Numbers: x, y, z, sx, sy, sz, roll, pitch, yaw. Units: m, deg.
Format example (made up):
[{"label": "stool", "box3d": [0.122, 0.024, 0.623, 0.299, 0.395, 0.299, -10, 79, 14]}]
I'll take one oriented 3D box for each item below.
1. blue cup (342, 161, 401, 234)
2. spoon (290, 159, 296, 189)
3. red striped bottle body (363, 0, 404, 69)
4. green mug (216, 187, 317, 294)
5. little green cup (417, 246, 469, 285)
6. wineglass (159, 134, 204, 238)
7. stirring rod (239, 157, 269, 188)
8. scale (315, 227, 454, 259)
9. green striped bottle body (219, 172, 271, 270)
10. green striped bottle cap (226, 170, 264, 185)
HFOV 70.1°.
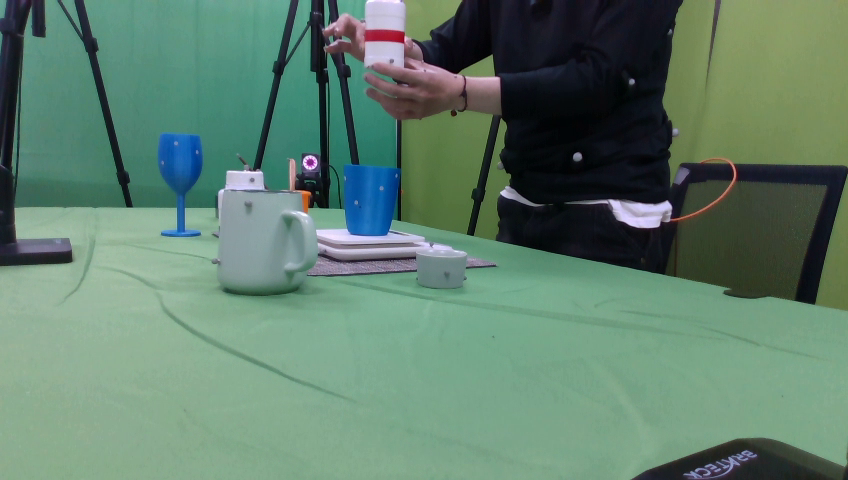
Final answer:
[{"label": "blue cup", "box3d": [-0.079, -0.061, 0.882, 0.093, 0.100, 0.092, 4, 6, 0]}, {"label": "spoon", "box3d": [-0.273, -0.102, 1.252, 0.042, 0.193, 0.021, 7, -38, -17]}, {"label": "red striped bottle body", "box3d": [-0.062, -0.328, 0.931, 0.063, 0.119, 0.063, 1, 11, 0]}, {"label": "green mug", "box3d": [-0.157, 0.000, 0.629, 0.124, 0.105, 0.093, 7, 9, 37]}, {"label": "little green cup", "box3d": [0.021, 0.029, 0.701, 0.061, 0.038, 0.061, 1, 6, 0]}, {"label": "wineglass", "box3d": [-0.415, -0.093, 1.040, 0.074, 0.172, 0.073, 2, 7, 0]}, {"label": "stirring rod", "box3d": [-0.309, -0.098, 1.209, 0.006, 0.177, 0.014, -39, 29, -4]}, {"label": "scale", "box3d": [-0.066, 0.001, 0.906, 0.202, 0.031, 0.148, -2, 8, -31]}, {"label": "green striped bottle body", "box3d": [-0.223, -0.025, 0.755, 0.063, 0.119, 0.063, 2, 7, 0]}, {"label": "green striped bottle cap", "box3d": [-0.222, -0.077, 0.748, 0.044, 0.020, 0.044, 1, 7, 0]}]
